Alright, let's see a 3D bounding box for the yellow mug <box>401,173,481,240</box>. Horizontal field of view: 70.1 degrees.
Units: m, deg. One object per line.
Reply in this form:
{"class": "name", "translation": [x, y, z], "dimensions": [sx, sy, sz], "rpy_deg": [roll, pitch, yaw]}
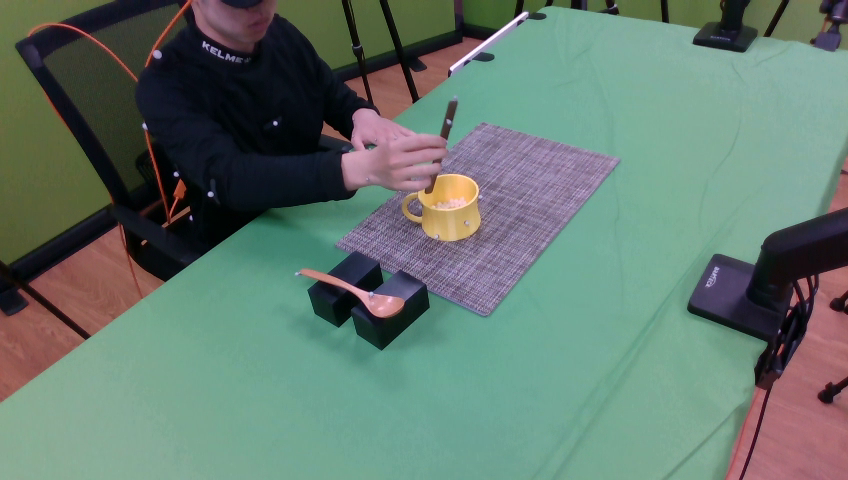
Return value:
{"class": "yellow mug", "translation": [0.026, -0.054, 0.989], "dimensions": [0.130, 0.064, 0.099], "rpy_deg": [-1, 41, 8]}

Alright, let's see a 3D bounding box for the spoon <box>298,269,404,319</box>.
{"class": "spoon", "translation": [-0.106, 0.068, 0.831], "dimensions": [0.192, 0.022, 0.042], "rpy_deg": [21, 49, 32]}

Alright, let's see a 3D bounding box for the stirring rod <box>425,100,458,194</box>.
{"class": "stirring rod", "translation": [0.025, -0.133, 0.890], "dimensions": [0.014, 0.176, 0.006], "rpy_deg": [-12, 52, -25]}
